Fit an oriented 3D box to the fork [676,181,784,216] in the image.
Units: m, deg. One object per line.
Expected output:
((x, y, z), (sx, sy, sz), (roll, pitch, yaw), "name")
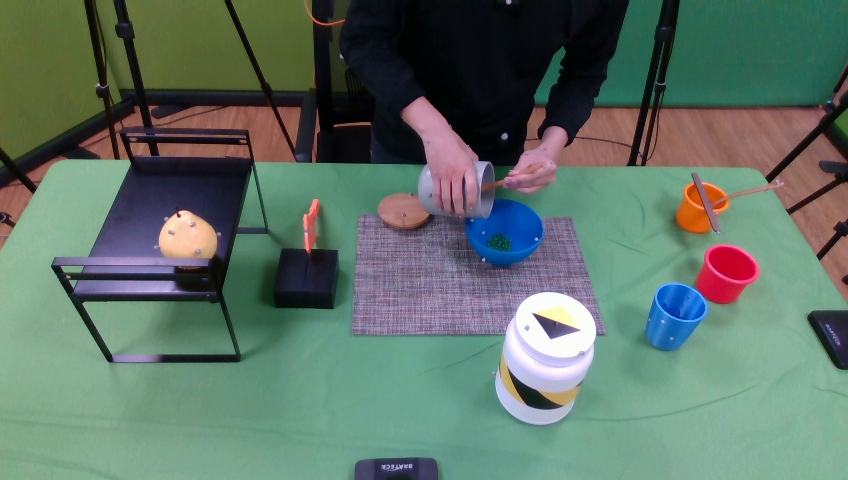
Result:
((0.618, -0.084, 1.235), (0.207, 0.019, 0.028), (-23, 20, 38), "fork")

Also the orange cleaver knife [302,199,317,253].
((-0.219, -0.031, 1.168), (0.012, 0.077, 0.210), (-5, 17, -3), "orange cleaver knife")

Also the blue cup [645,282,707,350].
((0.425, 0.136, 1.042), (0.093, 0.101, 0.092), (1, 45, -1), "blue cup")

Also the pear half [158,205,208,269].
((-0.352, -0.015, 0.872), (0.056, 0.110, 0.076), (26, 46, 20), "pear half")

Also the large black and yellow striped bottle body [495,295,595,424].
((0.183, 0.182, 0.923), (0.131, 0.185, 0.130), (2, 46, -2), "large black and yellow striped bottle body")

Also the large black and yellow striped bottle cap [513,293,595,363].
((0.186, 0.123, 0.863), (0.115, 0.019, 0.114), (3, 45, -3), "large black and yellow striped bottle cap")

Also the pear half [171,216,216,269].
((-0.323, 0.007, 0.866), (0.031, 0.088, 0.070), (25, 47, 20), "pear half")

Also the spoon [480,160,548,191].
((0.141, -0.108, 1.108), (0.193, 0.022, 0.041), (-17, 32, 32), "spoon")

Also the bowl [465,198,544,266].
((0.149, -0.004, 1.168), (0.151, 0.077, 0.150), (2, 46, -2), "bowl")

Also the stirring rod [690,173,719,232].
((0.566, -0.080, 1.225), (0.014, 0.006, 0.175), (2, 46, 2), "stirring rod")

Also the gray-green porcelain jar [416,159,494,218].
((0.057, -0.097, 1.129), (0.126, 0.106, 0.105), (5, 44, 20), "gray-green porcelain jar")

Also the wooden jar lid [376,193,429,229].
((-0.044, -0.059, 1.246), (0.108, 0.021, 0.107), (3, 40, -3), "wooden jar lid")
